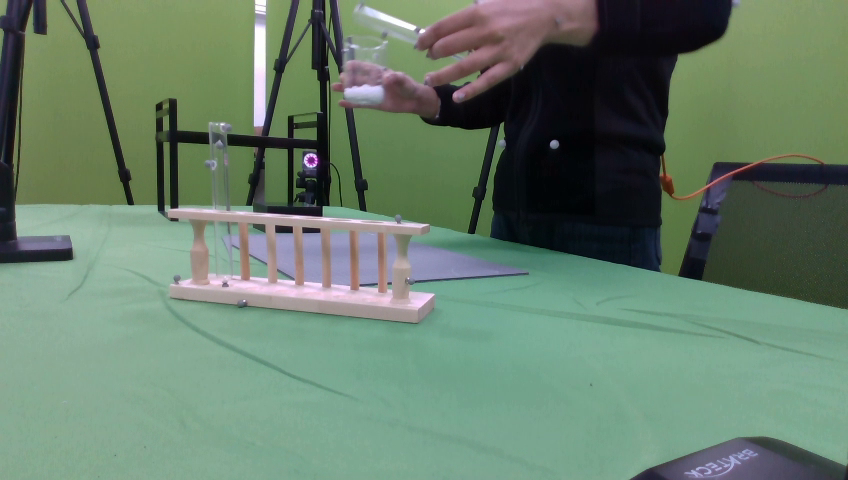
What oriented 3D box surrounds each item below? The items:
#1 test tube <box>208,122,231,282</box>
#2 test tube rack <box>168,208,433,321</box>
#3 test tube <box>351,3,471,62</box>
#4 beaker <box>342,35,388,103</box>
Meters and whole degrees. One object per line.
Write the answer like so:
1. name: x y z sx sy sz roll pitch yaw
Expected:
1. test tube: -0.191 -0.034 0.565 0.017 0.150 0.017 2 11 0
2. test tube rack: -0.115 0.017 0.574 0.242 0.085 0.067 4 8 13
3. test tube: -0.015 -0.231 0.671 0.150 0.017 0.017 27 14 13
4. beaker: -0.097 -0.285 1.018 0.083 0.100 0.074 4 4 34
